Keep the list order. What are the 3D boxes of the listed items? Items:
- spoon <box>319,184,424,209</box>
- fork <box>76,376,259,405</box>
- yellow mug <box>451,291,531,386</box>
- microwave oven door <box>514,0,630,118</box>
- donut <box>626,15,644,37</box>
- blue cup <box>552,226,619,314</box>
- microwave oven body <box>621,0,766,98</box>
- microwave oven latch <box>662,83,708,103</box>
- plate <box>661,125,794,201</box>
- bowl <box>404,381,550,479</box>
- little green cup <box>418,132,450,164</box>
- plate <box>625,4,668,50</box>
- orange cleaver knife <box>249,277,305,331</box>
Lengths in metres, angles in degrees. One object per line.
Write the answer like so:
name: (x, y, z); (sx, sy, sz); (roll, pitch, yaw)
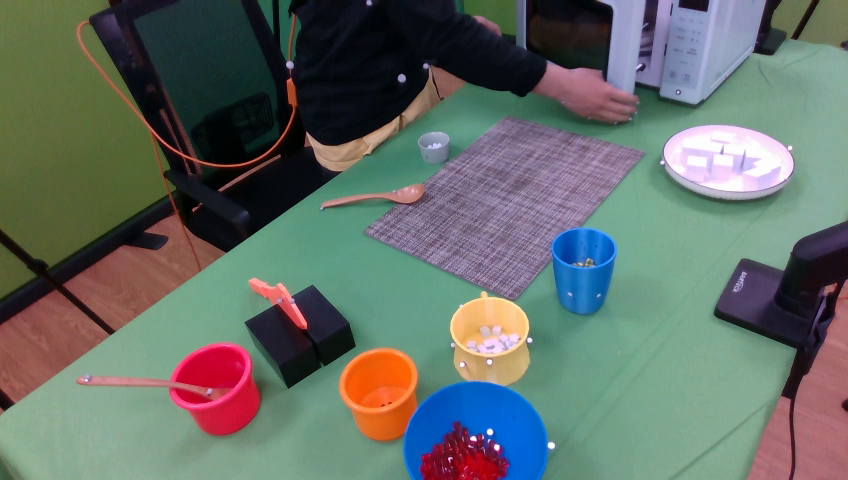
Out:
spoon: (-0.094, -0.075, 1.074); (0.193, 0.022, 0.041); (-5, 57, 5)
fork: (-0.295, 0.176, 0.716); (0.209, 0.018, 0.028); (19, 27, -36)
yellow mug: (0.085, 0.120, 0.786); (0.100, 0.064, 0.130); (-7, 39, 1)
microwave oven door: (0.297, -0.427, 1.234); (0.039, 0.245, 0.352); (-23, 43, -18)
donut: (0.437, -0.474, 1.345); (0.099, 0.048, 0.098); (-7, 23, 3)
blue cup: (0.218, 0.047, 0.826); (0.092, 0.101, 0.092); (-6, 40, 5)
microwave oven body: (0.473, -0.513, 1.317); (0.438, 0.261, 0.327); (26, 51, 34)
microwave oven latch: (0.518, -0.297, 1.204); (0.078, 0.029, 0.030); (29, 53, 36)
plate: (0.514, -0.128, 1.035); (0.207, 0.039, 0.206); (-4, 40, 4)
bowl: (0.058, 0.235, 0.645); (0.151, 0.077, 0.150); (-4, 39, 4)
little green cup: (0.020, -0.177, 1.168); (0.061, 0.039, 0.061); (-3, 41, 3)
plate: (0.435, -0.474, 1.357); (0.209, 0.038, 0.208); (-4, 41, 4)
orange cleaver knife: (-0.210, 0.088, 0.856); (0.012, 0.077, 0.210); (-28, 15, -25)
